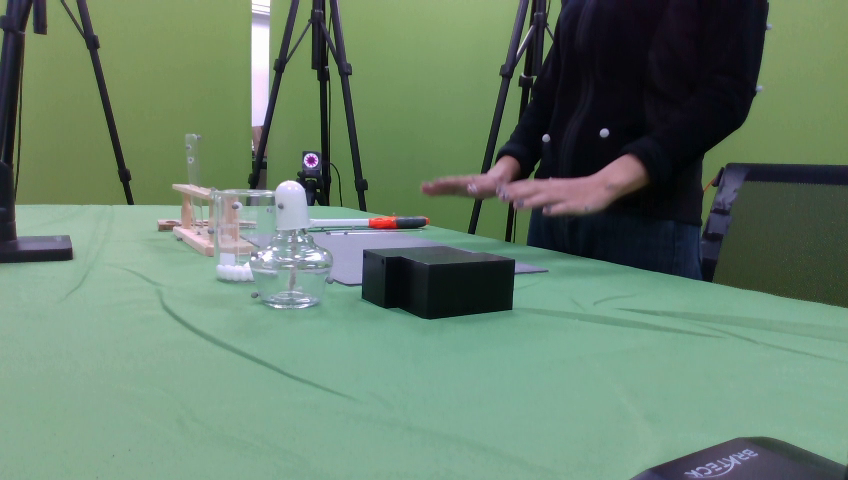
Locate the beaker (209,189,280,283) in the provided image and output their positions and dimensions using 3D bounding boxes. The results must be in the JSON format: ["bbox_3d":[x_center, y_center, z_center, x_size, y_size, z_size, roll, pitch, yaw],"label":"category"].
[{"bbox_3d":[-0.200,-0.006,0.677,0.084,0.100,0.074,3,7,8],"label":"beaker"}]

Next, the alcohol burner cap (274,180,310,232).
[{"bbox_3d":[-0.125,-0.032,0.563,0.034,0.048,0.034,-5,6,1],"label":"alcohol burner cap"}]

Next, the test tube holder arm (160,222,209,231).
[{"bbox_3d":[-0.423,-0.024,1.075,0.088,0.015,0.010,-3,44,-38],"label":"test tube holder arm"}]

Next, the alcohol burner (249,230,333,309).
[{"bbox_3d":[-0.125,0.004,0.568,0.078,0.119,0.078,2,9,0],"label":"alcohol burner"}]

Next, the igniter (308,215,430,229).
[{"bbox_3d":[-0.108,-0.037,1.228,0.278,0.025,0.057,-3,-1,-35],"label":"igniter"}]

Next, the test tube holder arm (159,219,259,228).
[{"bbox_3d":[-0.390,-0.030,1.107,0.179,0.015,0.013,-3,44,-39],"label":"test tube holder arm"}]

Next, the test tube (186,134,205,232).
[{"bbox_3d":[-0.350,-0.087,0.928,0.017,0.150,0.017,-3,5,1],"label":"test tube"}]

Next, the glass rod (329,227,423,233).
[{"bbox_3d":[-0.087,-0.019,1.148,0.201,0.008,0.008,-3,8,-32],"label":"glass rod"}]

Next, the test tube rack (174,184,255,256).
[{"bbox_3d":[-0.327,-0.036,0.928,0.067,0.085,0.241,-2,9,-32],"label":"test tube rack"}]
